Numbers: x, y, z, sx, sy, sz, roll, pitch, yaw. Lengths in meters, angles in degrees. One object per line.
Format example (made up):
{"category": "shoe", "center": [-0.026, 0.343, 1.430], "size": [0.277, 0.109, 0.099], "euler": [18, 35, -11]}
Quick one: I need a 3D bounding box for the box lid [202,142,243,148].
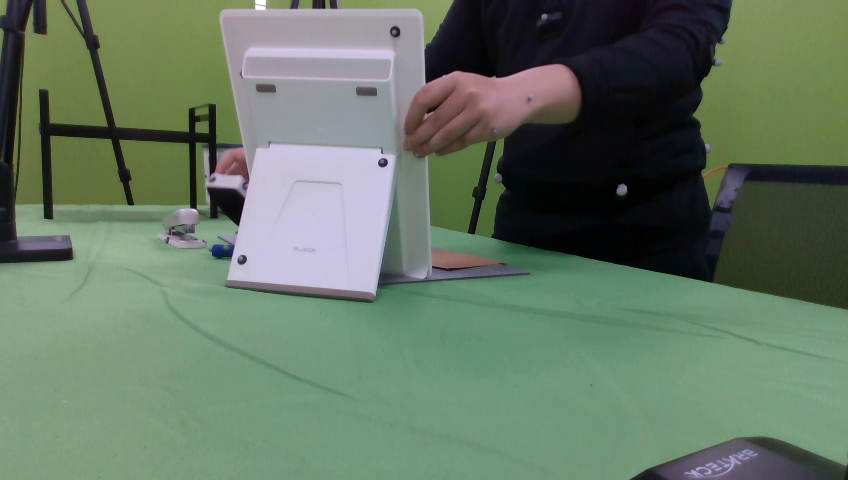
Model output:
{"category": "box lid", "center": [-0.345, -0.225, 1.509], "size": [0.373, 0.015, 0.262], "euler": [-2, 8, -31]}

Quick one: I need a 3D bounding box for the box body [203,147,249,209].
{"category": "box body", "center": [-0.347, -0.152, 1.520], "size": [0.366, 0.160, 0.253], "euler": [-2, 9, -31]}

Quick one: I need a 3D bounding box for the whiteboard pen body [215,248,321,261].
{"category": "whiteboard pen body", "center": [-0.208, 0.019, 0.805], "size": [0.141, 0.017, 0.017], "euler": [1, 7, 0]}

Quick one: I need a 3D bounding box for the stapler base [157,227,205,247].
{"category": "stapler base", "center": [-0.376, -0.008, 0.935], "size": [0.041, 0.024, 0.130], "euler": [0, 6, -38]}

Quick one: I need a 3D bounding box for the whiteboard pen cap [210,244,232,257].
{"category": "whiteboard pen cap", "center": [-0.266, 0.014, 0.807], "size": [0.033, 0.018, 0.018], "euler": [1, 7, -1]}

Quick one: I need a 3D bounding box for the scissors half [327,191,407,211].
{"category": "scissors half", "center": [-0.123, -0.092, 1.316], "size": [0.175, 0.040, 0.013], "euler": [6, 13, -4]}

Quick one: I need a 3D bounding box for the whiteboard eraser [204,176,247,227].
{"category": "whiteboard eraser", "center": [-0.261, -0.046, 0.864], "size": [0.055, 0.042, 0.113], "euler": [9, -27, 23]}

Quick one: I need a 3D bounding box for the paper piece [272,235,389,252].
{"category": "paper piece", "center": [-0.151, 0.004, 0.978], "size": [0.135, 0.008, 0.139], "euler": [13, 11, 35]}

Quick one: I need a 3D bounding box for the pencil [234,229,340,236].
{"category": "pencil", "center": [-0.232, -0.013, 1.054], "size": [0.195, 0.012, 0.012], "euler": [0, 8, -36]}

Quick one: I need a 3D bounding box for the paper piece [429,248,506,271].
{"category": "paper piece", "center": [0.025, 0.026, 0.864], "size": [0.134, 0.004, 0.136], "euler": [8, 11, 42]}

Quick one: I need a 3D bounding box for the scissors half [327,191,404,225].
{"category": "scissors half", "center": [-0.128, -0.073, 1.320], "size": [0.175, 0.040, 0.013], "euler": [23, 7, -6]}

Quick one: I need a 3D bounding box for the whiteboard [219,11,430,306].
{"category": "whiteboard", "center": [-0.119, -0.064, 0.620], "size": [0.217, 0.305, 0.144], "euler": [5, 29, 13]}

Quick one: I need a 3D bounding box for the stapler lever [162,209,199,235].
{"category": "stapler lever", "center": [-0.377, -0.031, 0.933], "size": [0.027, 0.040, 0.117], "euler": [0, 7, -38]}
